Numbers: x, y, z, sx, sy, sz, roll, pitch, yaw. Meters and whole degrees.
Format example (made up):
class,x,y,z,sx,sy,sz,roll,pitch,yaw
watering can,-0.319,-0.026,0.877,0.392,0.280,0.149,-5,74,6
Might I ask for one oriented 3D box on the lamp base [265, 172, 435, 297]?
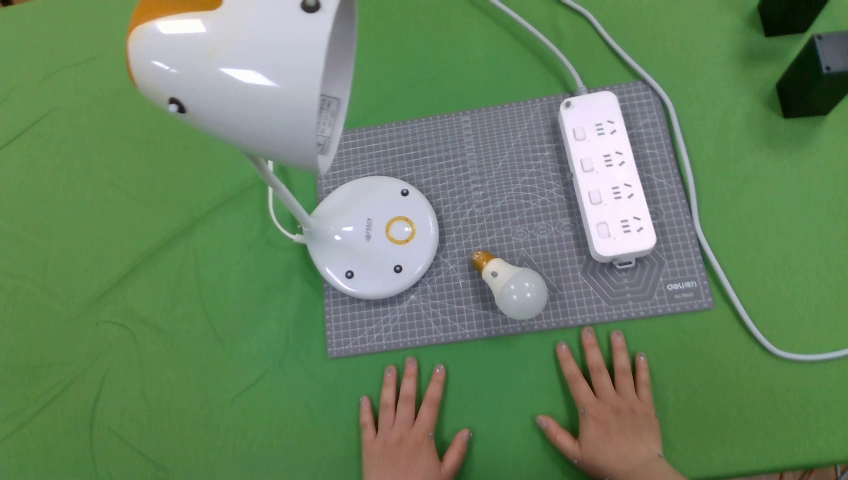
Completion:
class,x,y,z,sx,sy,sz,roll,pitch,yaw
lamp base,-0.088,-0.029,0.672,0.179,0.181,0.159,-11,72,7

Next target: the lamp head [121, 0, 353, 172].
class,x,y,z,sx,sy,sz,roll,pitch,yaw
lamp head,-0.109,-0.104,0.363,0.123,0.113,0.112,9,74,3

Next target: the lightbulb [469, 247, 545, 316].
class,x,y,z,sx,sy,sz,roll,pitch,yaw
lightbulb,0.091,0.043,0.697,0.059,0.060,0.106,-45,58,-7

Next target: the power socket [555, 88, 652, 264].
class,x,y,z,sx,sy,sz,roll,pitch,yaw
power socket,0.213,-0.083,0.728,0.072,0.033,0.225,-10,72,3
